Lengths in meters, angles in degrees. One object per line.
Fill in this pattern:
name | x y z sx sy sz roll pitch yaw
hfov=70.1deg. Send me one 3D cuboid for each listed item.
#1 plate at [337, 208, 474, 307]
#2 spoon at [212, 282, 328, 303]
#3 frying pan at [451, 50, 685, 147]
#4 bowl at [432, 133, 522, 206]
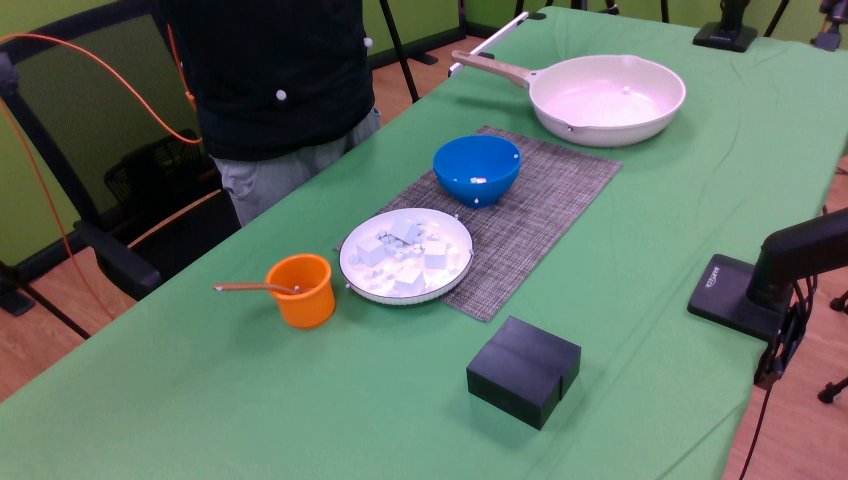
plate | -0.026 0.028 0.921 0.207 0.039 0.206 -4 40 4
spoon | -0.205 0.067 0.822 0.041 0.195 0.021 29 97 35
frying pan | 0.269 -0.316 1.233 0.485 0.103 0.307 26 49 21
bowl | 0.092 -0.110 1.034 0.151 0.077 0.150 -4 40 4
